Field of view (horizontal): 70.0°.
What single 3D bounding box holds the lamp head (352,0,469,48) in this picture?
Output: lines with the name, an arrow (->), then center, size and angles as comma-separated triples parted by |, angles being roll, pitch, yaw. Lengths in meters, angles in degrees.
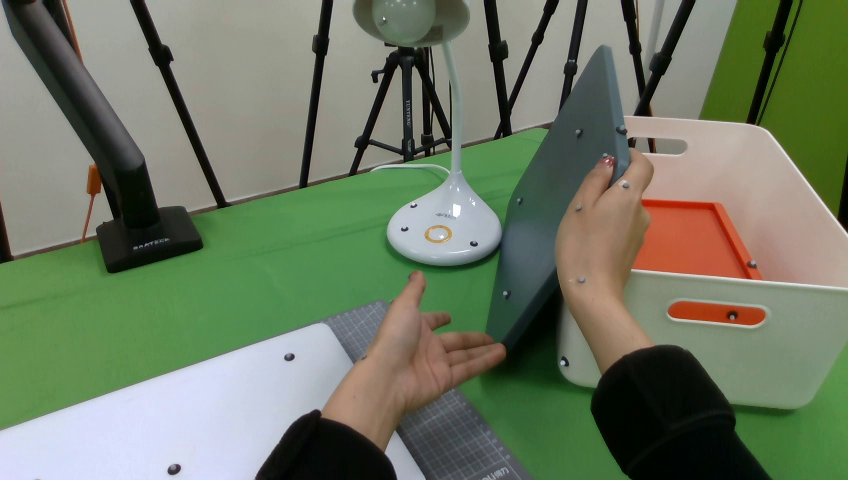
lamp head -> -0.010, -0.262, 0.584 | 0.112, 0.113, 0.122 | 2, 73, 3

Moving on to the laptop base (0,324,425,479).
laptop base -> -0.205, 0.198, 0.507 | 0.355, 0.023, 0.233 | -17, 40, -25

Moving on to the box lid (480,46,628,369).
box lid -> 0.142, -0.051, 0.684 | 0.015, 0.264, 0.369 | 24, 36, -3

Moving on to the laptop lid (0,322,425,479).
laptop lid -> -0.204, 0.190, 0.499 | 0.358, 0.013, 0.239 | -16, 38, -24

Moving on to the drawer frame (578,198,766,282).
drawer frame -> 0.259, 0.034, 0.696 | 0.201, 0.083, 0.212 | 3, 31, 6

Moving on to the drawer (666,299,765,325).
drawer -> 0.257, 0.039, 0.695 | 0.194, 0.074, 0.210 | 4, 30, 5

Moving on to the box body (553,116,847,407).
box body -> 0.277, 0.002, 0.686 | 0.254, 0.162, 0.361 | 5, 33, 8

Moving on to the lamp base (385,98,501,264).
lamp base -> 0.027, -0.087, 0.805 | 0.160, 0.181, 0.178 | 5, 31, 8
